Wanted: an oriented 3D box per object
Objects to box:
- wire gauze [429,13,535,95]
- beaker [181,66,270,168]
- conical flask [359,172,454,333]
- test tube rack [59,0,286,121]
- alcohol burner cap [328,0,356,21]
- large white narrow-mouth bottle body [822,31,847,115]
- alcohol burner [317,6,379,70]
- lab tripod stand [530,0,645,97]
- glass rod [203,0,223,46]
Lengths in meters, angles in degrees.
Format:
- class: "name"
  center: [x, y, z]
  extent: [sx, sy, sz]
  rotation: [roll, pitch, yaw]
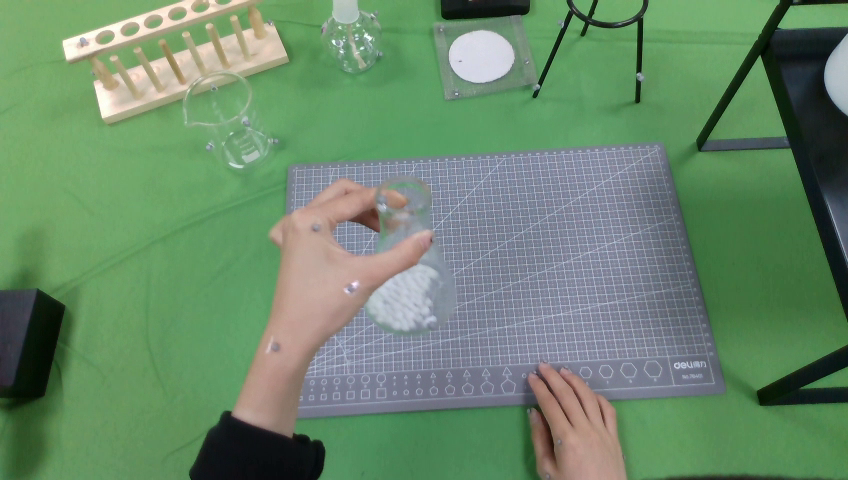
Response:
- class: "wire gauze"
  center: [0.074, -0.247, 0.790]
  extent: [0.121, 0.011, 0.124]
  rotation: [-7, 65, -3]
- class: "beaker"
  center: [-0.225, -0.135, 0.698]
  extent: [0.073, 0.101, 0.084]
  rotation: [41, 73, 19]
- class: "conical flask"
  center: [-0.014, 0.007, 0.438]
  extent: [0.075, 0.123, 0.074]
  rotation: [0, 50, 0]
- class: "test tube rack"
  center: [-0.306, -0.239, 0.756]
  extent: [0.242, 0.086, 0.066]
  rotation: [-22, 66, -8]
- class: "alcohol burner cap"
  center: [-0.097, -0.288, 0.716]
  extent: [0.034, 0.048, 0.033]
  rotation: [3, 64, -6]
- class: "large white narrow-mouth bottle body"
  center: [0.394, -0.176, 0.447]
  extent: [0.102, 0.196, 0.101]
  rotation: [-1, 63, 1]
- class: "alcohol burner"
  center: [-0.096, -0.270, 0.749]
  extent: [0.078, 0.120, 0.077]
  rotation: [0, 63, 1]
- class: "lab tripod stand"
  center: [0.201, -0.242, 0.715]
  extent: [0.148, 0.132, 0.147]
  rotation: [0, 64, 0]
- class: "glass rod"
  center: [-0.262, -0.302, 0.710]
  extent: [0.008, 0.201, 0.008]
  rotation: [1, 63, -2]
